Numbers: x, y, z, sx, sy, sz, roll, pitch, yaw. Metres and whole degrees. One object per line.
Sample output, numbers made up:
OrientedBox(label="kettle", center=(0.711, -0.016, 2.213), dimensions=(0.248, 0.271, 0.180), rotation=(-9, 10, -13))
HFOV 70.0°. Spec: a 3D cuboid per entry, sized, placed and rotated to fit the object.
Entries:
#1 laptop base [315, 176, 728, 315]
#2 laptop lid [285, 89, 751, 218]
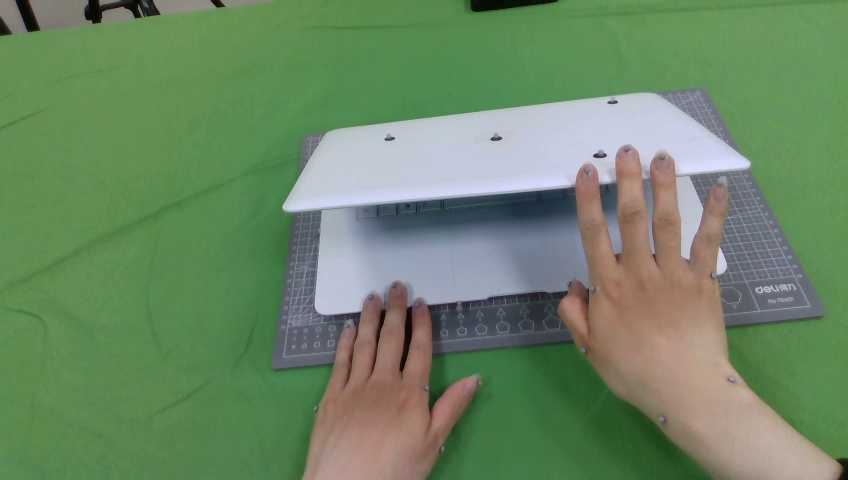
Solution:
OrientedBox(label="laptop base", center=(0.076, -0.041, 0.587), dimensions=(0.354, 0.023, 0.233), rotation=(-6, 53, 3))
OrientedBox(label="laptop lid", center=(0.068, -0.088, 0.547), dimensions=(0.356, 0.013, 0.239), rotation=(-5, 27, 4))
